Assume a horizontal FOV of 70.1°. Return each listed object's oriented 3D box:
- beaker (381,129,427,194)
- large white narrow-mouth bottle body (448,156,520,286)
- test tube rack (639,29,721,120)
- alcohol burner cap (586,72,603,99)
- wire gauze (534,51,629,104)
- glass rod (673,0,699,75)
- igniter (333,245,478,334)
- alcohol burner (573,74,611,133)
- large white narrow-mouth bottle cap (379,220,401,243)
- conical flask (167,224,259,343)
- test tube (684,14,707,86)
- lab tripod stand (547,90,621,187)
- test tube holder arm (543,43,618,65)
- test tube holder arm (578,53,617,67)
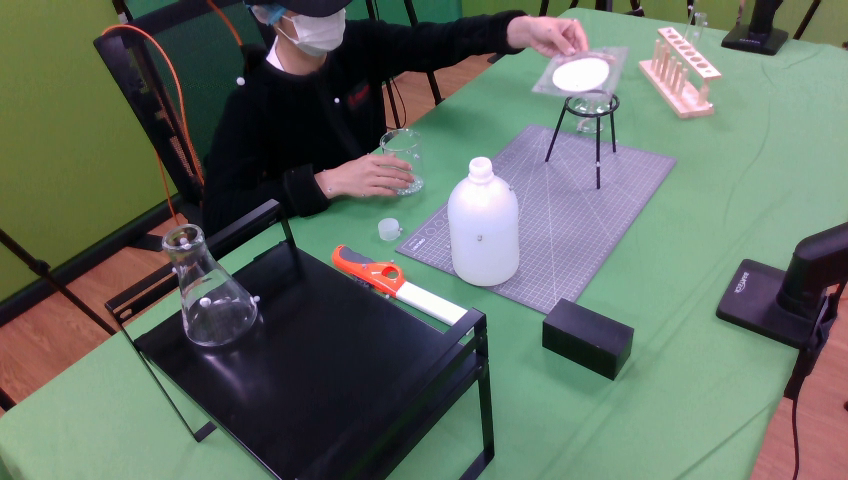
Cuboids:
[{"bbox_3d":[-0.032,-0.142,1.095,0.073,0.101,0.084,14,44,24],"label":"beaker"},{"bbox_3d":[0.086,-0.032,0.869,0.102,0.195,0.101,-4,40,4],"label":"large white narrow-mouth bottle body"},{"bbox_3d":[0.527,-0.351,1.262,0.067,0.085,0.241,-8,40,1],"label":"test tube rack"},{"bbox_3d":[0.325,-0.297,1.154,0.034,0.048,0.033,-8,35,6],"label":"alcohol burner cap"},{"bbox_3d":[0.248,-0.260,0.952,0.124,0.011,0.121,12,55,27],"label":"wire gauze"},{"bbox_3d":[0.541,-0.427,1.246,0.008,0.200,0.008,0,48,1],"label":"glass rod"},{"bbox_3d":[-0.039,0.068,0.905,0.274,0.025,0.057,24,61,32],"label":"igniter"},{"bbox_3d":[0.330,-0.270,1.177,0.078,0.119,0.077,-4,43,4],"label":"alcohol burner"},{"bbox_3d":[-0.057,-0.015,1.012,0.038,0.024,0.037,-4,40,4],"label":"large white narrow-mouth bottle cap"},{"bbox_3d":[-0.220,0.041,0.613,0.075,0.122,0.075,-5,40,4],"label":"conical flask"},{"bbox_3d":[0.541,-0.379,1.216,0.017,0.151,0.017,-2,44,2],"label":"test tube"},{"bbox_3d":[0.289,-0.184,1.062,0.148,0.132,0.147,-6,41,6],"label":"lab tripod stand"},{"bbox_3d":[0.345,-0.413,1.340,0.177,0.015,0.013,25,50,31],"label":"test tube holder arm"},{"bbox_3d":[0.376,-0.393,1.314,0.087,0.015,0.010,26,51,32],"label":"test tube holder arm"}]
